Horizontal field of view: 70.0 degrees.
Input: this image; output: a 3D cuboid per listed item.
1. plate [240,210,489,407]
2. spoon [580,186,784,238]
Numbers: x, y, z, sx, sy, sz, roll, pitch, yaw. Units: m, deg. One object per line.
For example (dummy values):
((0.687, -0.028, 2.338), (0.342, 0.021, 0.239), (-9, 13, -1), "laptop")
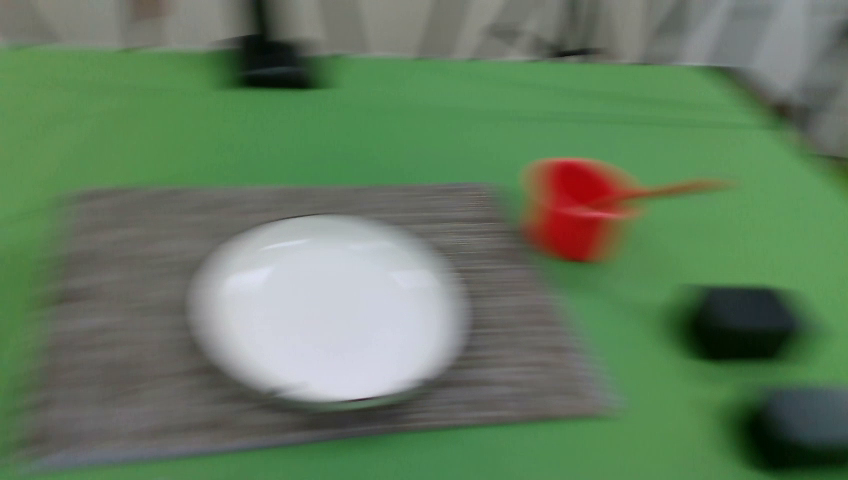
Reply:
((-0.049, 0.057, 0.525), (0.208, 0.039, 0.205), (6, 44, -5), "plate")
((0.244, -0.029, 0.595), (0.193, 0.022, 0.041), (-15, 26, 43), "spoon")
